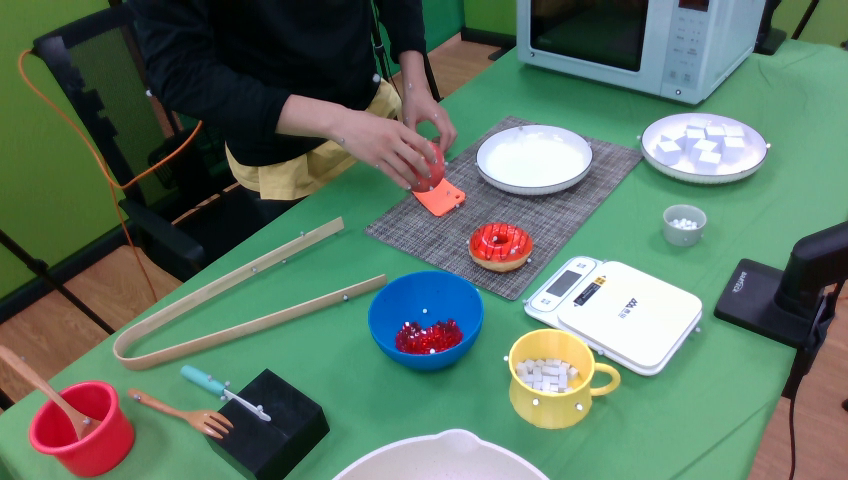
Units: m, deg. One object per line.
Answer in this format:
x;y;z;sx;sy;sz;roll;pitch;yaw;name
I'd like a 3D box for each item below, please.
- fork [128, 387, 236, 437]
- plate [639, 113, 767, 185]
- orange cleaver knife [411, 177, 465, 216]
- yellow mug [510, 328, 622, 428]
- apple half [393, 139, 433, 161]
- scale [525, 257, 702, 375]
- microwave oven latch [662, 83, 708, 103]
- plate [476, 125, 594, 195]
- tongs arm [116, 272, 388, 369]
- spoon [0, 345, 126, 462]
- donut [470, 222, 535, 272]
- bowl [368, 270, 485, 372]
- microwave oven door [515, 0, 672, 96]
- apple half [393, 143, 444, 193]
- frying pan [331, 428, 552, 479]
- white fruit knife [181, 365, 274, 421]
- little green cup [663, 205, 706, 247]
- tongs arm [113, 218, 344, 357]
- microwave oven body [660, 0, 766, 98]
-0.305;0.207;0.744;0.206;0.019;0.028;3;41;36;fork
0.489;-0.157;1.074;0.207;0.039;0.206;-4;40;4;plate
0.005;-0.113;1.102;0.077;0.012;0.209;-24;45;-9;orange cleaver knife
0.169;0.164;0.722;0.130;0.064;0.099;0;40;8;yellow mug
-0.014;-0.135;0.983;0.081;0.081;0.032;-14;50;-7;apple half
0.254;0.091;0.821;0.199;0.032;0.149;28;51;35;scale
0.518;-0.296;1.204;0.078;0.029;0.030;27;52;35;microwave oven latch
0.199;-0.141;1.093;0.209;0.038;0.208;-4;40;4;plate
-0.236;0.113;0.868;0.389;0.028;0.028;-18;48;-13;tongs arm
-0.434;0.191;0.720;0.194;0.021;0.042;47;53;-7;spoon
0.119;0.009;0.923;0.099;0.048;0.098;-4;38;3;donut
0.007;0.118;0.791;0.151;0.077;0.150;-4;40;4;bowl
0.343;-0.454;1.259;0.353;0.245;0.039;26;51;33;microwave oven door
-0.004;-0.107;0.959;0.081;0.075;0.053;-15;51;-5;apple half
-0.089;0.305;0.564;0.487;0.103;0.306;10;41;7;frying pan
-0.245;0.187;0.747;0.205;0.027;0.016;9;41;40;white fruit knife
0.396;-0.020;0.926;0.061;0.039;0.061;-4;40;4;little green cup
-0.280;0.067;0.926;0.386;0.026;0.050;-28;48;-23;tongs arm
0.472;-0.513;1.317;0.438;0.261;0.327;26;51;34;microwave oven body
